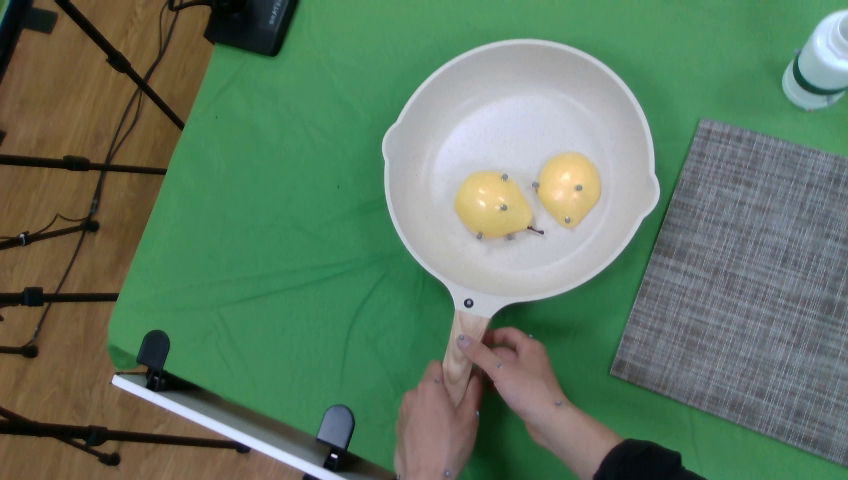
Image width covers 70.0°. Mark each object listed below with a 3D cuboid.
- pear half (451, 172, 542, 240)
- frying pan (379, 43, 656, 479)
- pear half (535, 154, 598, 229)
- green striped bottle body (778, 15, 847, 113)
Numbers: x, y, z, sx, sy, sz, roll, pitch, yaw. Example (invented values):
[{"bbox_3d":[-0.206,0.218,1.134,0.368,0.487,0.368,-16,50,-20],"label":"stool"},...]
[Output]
[{"bbox_3d":[0.086,-0.033,0.692,0.109,0.056,0.076,26,93,13],"label":"pear half"},{"bbox_3d":[0.067,0.023,0.662,0.305,0.103,0.486,15,76,16],"label":"frying pan"},{"bbox_3d":[0.161,-0.058,0.689,0.070,0.031,0.087,-3,77,17],"label":"pear half"},{"bbox_3d":[0.407,-0.178,0.607,0.063,0.120,0.063,-2,80,13],"label":"green striped bottle body"}]
